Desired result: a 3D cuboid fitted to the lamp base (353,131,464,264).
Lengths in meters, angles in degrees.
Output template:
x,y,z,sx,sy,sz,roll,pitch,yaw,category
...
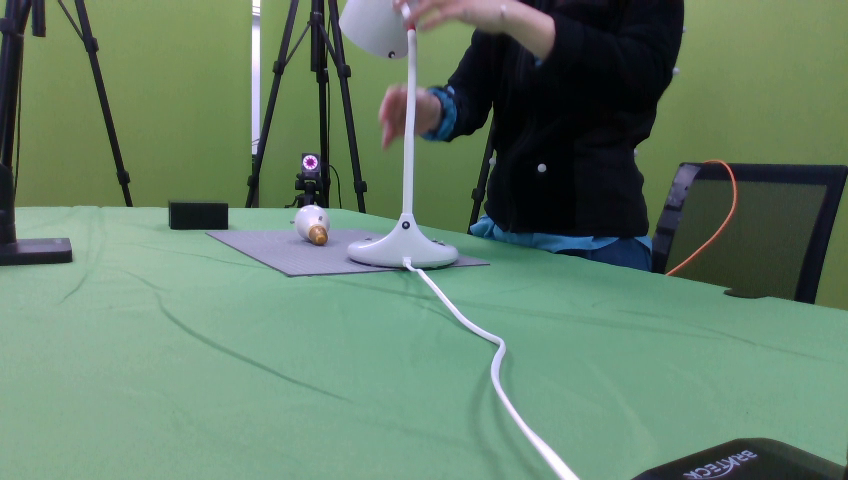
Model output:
x,y,z,sx,sy,sz,roll,pitch,yaw,category
-0.014,-0.062,0.850,0.161,0.180,0.178,-1,11,-20,lamp base
